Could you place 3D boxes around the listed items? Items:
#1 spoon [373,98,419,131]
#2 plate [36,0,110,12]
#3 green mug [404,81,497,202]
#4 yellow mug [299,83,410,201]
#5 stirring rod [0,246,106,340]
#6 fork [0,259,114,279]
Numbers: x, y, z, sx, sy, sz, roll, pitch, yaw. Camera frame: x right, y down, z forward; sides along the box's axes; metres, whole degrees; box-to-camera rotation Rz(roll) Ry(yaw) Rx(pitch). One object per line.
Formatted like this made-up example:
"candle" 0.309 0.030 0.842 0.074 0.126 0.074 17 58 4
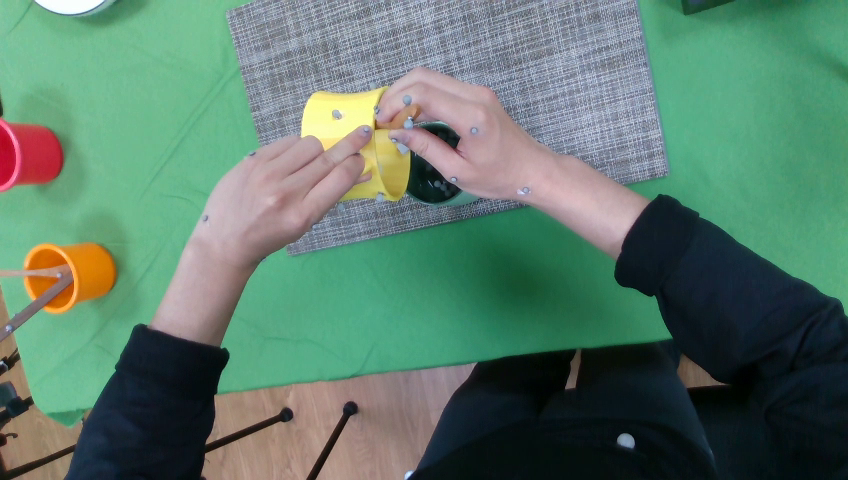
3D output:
"spoon" -0.030 -0.094 0.472 0.022 0.192 0.041 37 85 -19
"plate" -0.433 -0.389 0.751 0.207 0.039 0.208 3 100 16
"green mug" 0.024 -0.099 0.622 0.092 0.105 0.125 6 100 16
"yellow mug" -0.061 -0.078 0.524 0.064 0.130 0.101 -1 119 17
"stirring rod" -0.492 0.071 0.792 0.014 0.006 0.176 39 65 7
"fork" -0.522 0.040 0.790 0.208 0.018 0.028 0 98 -27
